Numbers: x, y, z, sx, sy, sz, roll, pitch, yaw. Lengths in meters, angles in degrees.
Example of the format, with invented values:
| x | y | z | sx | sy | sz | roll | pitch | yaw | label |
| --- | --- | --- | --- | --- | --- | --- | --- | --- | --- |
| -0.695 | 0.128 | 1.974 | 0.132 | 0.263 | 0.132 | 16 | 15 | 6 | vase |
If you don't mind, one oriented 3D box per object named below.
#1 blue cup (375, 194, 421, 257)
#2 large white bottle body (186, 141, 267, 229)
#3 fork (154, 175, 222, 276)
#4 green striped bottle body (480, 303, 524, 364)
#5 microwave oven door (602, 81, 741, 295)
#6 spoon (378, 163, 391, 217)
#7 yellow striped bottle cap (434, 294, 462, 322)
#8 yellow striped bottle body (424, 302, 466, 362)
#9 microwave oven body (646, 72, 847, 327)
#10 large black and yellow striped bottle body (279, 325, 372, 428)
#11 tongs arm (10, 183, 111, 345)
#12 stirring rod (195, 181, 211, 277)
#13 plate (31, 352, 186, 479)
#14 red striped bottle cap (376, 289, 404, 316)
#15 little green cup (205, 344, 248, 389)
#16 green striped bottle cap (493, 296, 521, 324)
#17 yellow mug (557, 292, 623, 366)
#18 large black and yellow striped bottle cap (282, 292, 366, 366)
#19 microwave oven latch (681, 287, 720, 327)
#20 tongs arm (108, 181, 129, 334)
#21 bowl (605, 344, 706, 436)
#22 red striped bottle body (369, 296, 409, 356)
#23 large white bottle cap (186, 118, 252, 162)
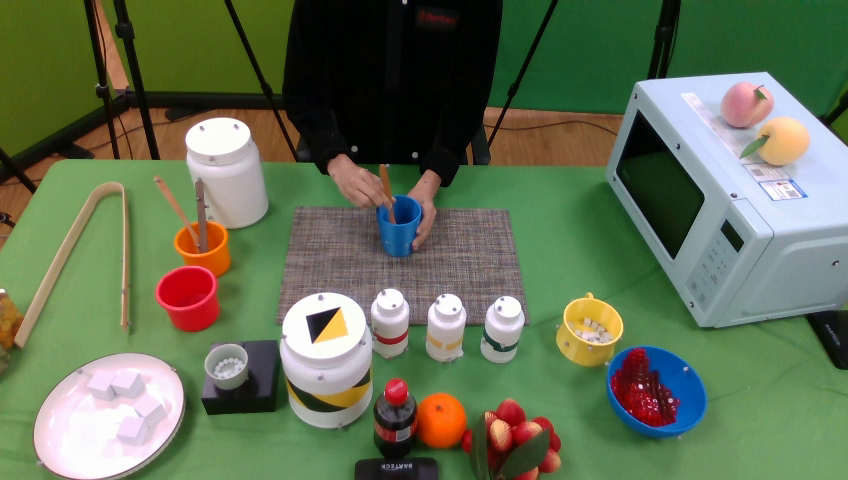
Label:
| x | y | z | sx | sy | sz | roll | pitch | yaw | label |
| --- | --- | --- | --- | --- | --- | --- | --- | --- | --- |
| -0.050 | -0.022 | 1.156 | 0.093 | 0.101 | 0.092 | 1 | 47 | -1 | blue cup |
| -0.383 | -0.127 | 1.175 | 0.131 | 0.185 | 0.130 | 2 | 47 | -2 | large white bottle body |
| -0.431 | -0.026 | 1.101 | 0.028 | 0.018 | 0.207 | -33 | 100 | -25 | fork |
| 0.129 | 0.147 | 1.000 | 0.063 | 0.120 | 0.063 | 2 | 46 | -2 | green striped bottle body |
| 0.456 | -0.107 | 1.162 | 0.039 | 0.245 | 0.353 | -7 | 47 | -11 | microwave oven door |
| -0.068 | -0.057 | 1.110 | 0.041 | 0.194 | 0.021 | 7 | 35 | 17 | spoon |
| 0.038 | 0.107 | 0.958 | 0.044 | 0.019 | 0.044 | 2 | 45 | -2 | yellow striped bottle cap |
| 0.035 | 0.143 | 0.995 | 0.063 | 0.121 | 0.062 | 3 | 46 | -3 | yellow striped bottle body |
| 0.607 | -0.089 | 1.164 | 0.326 | 0.261 | 0.438 | -7 | 46 | -10 | microwave oven body |
| -0.143 | 0.181 | 0.900 | 0.131 | 0.185 | 0.130 | 2 | 46 | -2 | large black and yellow striped bottle body |
| -0.658 | 0.027 | 1.109 | 0.028 | 0.028 | 0.385 | -2 | 45 | 2 | tongs arm |
| -0.403 | -0.020 | 1.104 | 0.014 | 0.006 | 0.176 | -6 | 89 | -8 | stirring rod |
| -0.459 | 0.262 | 0.898 | 0.209 | 0.038 | 0.208 | 2 | 46 | -2 | plate |
| -0.054 | 0.098 | 0.958 | 0.044 | 0.018 | 0.044 | 0 | 48 | 0 | red striped bottle cap |
| -0.294 | 0.191 | 0.909 | 0.061 | 0.039 | 0.061 | 1 | 47 | -1 | little green cup |
| 0.133 | 0.111 | 0.963 | 0.044 | 0.020 | 0.044 | 2 | 48 | -2 | green striped bottle cap |
| 0.285 | 0.145 | 1.051 | 0.100 | 0.064 | 0.130 | 7 | 46 | 4 | yellow mug |
| -0.138 | 0.121 | 0.841 | 0.115 | 0.019 | 0.114 | 3 | 47 | -3 | large black and yellow striped bottle cap |
| 0.494 | 0.119 | 1.087 | 0.030 | 0.029 | 0.078 | -5 | 46 | -9 | microwave oven latch |
| -0.571 | 0.019 | 1.123 | 0.051 | 0.026 | 0.382 | -10 | 47 | -12 | tongs arm |
| 0.351 | 0.247 | 0.950 | 0.151 | 0.077 | 0.150 | 2 | 46 | -2 | bowl |
| -0.059 | 0.134 | 0.997 | 0.063 | 0.120 | 0.062 | 5 | 48 | -5 | red striped bottle body |
| -0.377 | -0.185 | 1.115 | 0.115 | 0.018 | 0.114 | 2 | 46 | -2 | large white bottle cap |
